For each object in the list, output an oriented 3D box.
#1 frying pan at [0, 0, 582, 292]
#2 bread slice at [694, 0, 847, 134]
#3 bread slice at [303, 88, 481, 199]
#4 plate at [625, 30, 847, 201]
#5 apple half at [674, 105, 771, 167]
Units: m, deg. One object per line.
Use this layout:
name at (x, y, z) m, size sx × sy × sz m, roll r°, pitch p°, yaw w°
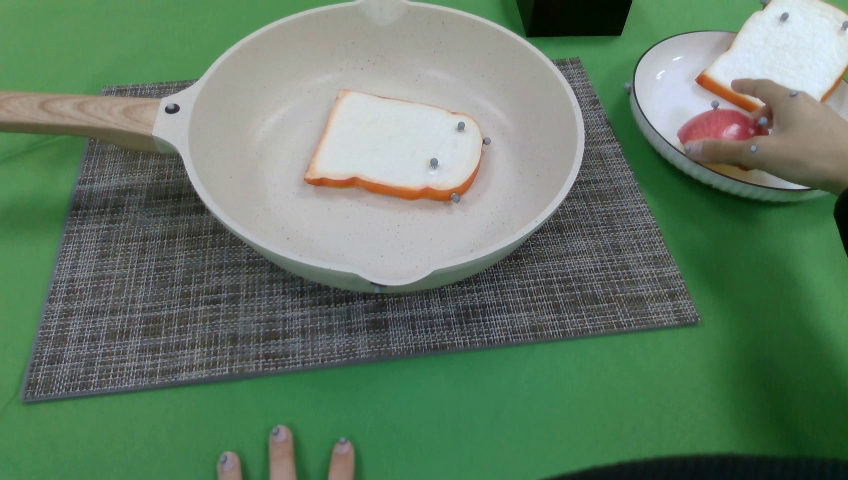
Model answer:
frying pan at (-0.132, -0.084, 0.452) m, size 0.489 × 0.103 × 0.303 m, roll 4°, pitch 52°, yaw -10°
bread slice at (0.332, -0.173, 0.560) m, size 0.104 × 0.019 × 0.131 m, roll 37°, pitch 80°, yaw 20°
bread slice at (-0.020, -0.079, 0.501) m, size 0.134 × 0.018 × 0.106 m, roll 7°, pitch 54°, yaw 3°
plate at (0.280, -0.109, 0.537) m, size 0.208 × 0.039 × 0.205 m, roll 2°, pitch 53°, yaw -2°
apple half at (0.242, -0.089, 0.483) m, size 0.081 × 0.033 × 0.080 m, roll 10°, pitch 30°, yaw -5°
